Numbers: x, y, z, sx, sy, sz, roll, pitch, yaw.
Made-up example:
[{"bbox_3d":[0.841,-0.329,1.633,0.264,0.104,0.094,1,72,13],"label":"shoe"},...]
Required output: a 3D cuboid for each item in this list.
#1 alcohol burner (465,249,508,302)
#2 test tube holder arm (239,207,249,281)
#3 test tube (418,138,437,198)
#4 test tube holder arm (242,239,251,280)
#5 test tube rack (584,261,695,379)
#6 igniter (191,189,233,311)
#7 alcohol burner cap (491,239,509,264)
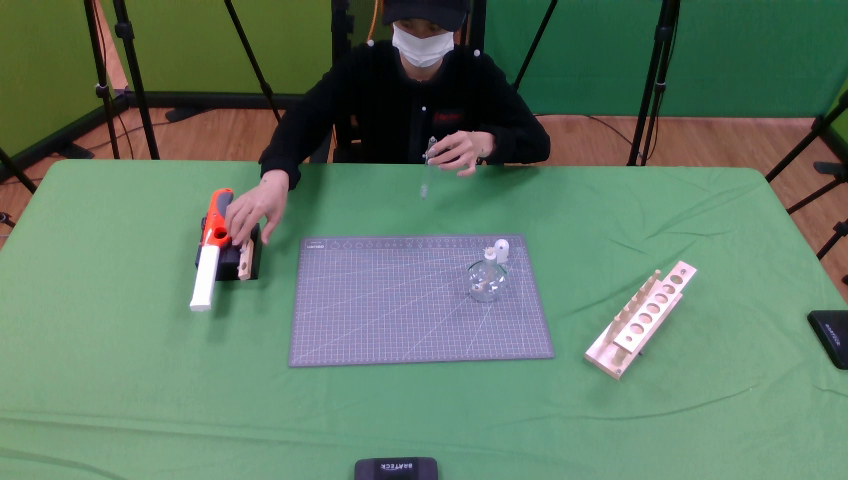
[{"bbox_3d":[0.114,0.057,1.085,0.078,0.120,0.077,2,48,-2],"label":"alcohol burner"},{"bbox_3d":[-0.328,0.003,1.106,0.013,0.015,0.177,-7,47,-8],"label":"test tube holder arm"},{"bbox_3d":[0.006,-0.134,1.164,0.017,0.151,0.017,5,50,-6],"label":"test tube"},{"bbox_3d":[-0.314,0.034,1.077,0.010,0.015,0.087,-6,47,-7],"label":"test tube holder arm"},{"bbox_3d":[0.380,0.127,1.062,0.066,0.085,0.242,34,53,26],"label":"test tube rack"},{"bbox_3d":[-0.381,0.008,1.092,0.057,0.025,0.274,-1,50,-6],"label":"igniter"},{"bbox_3d":[0.150,0.020,1.174,0.034,0.048,0.033,2,46,-2],"label":"alcohol burner cap"}]
